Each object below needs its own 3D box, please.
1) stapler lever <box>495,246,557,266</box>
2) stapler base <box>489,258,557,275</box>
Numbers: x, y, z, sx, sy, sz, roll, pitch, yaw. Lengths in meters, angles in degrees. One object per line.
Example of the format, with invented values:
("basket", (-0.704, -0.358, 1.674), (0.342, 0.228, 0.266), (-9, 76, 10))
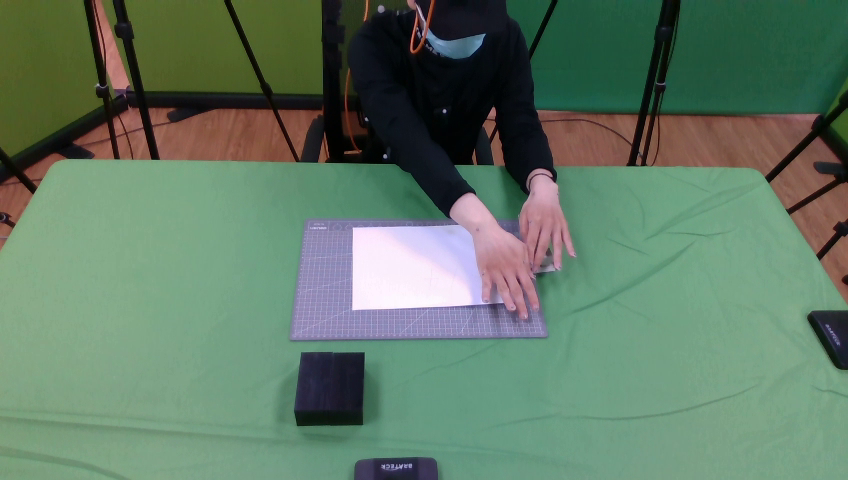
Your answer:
("stapler lever", (0.193, 0.028, 1.149), (0.118, 0.040, 0.026), (-8, 50, -5))
("stapler base", (0.191, 0.041, 1.163), (0.131, 0.024, 0.041), (-4, 50, -10))
